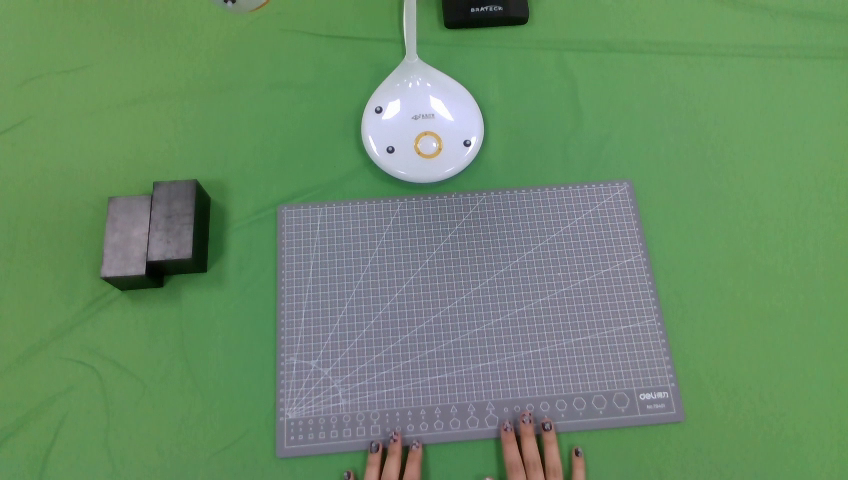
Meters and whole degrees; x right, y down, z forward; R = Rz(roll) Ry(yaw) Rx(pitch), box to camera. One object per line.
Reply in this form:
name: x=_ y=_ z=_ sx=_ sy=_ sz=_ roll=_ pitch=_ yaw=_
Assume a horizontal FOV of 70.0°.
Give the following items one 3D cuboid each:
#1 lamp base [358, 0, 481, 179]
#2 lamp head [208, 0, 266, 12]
lamp base: x=-0.010 y=-0.190 z=0.719 sx=0.161 sy=0.181 sz=0.177 roll=-17 pitch=68 yaw=-7
lamp head: x=-0.169 y=-0.257 z=0.511 sx=0.112 sy=0.124 sz=0.111 roll=-5 pitch=71 yaw=14
